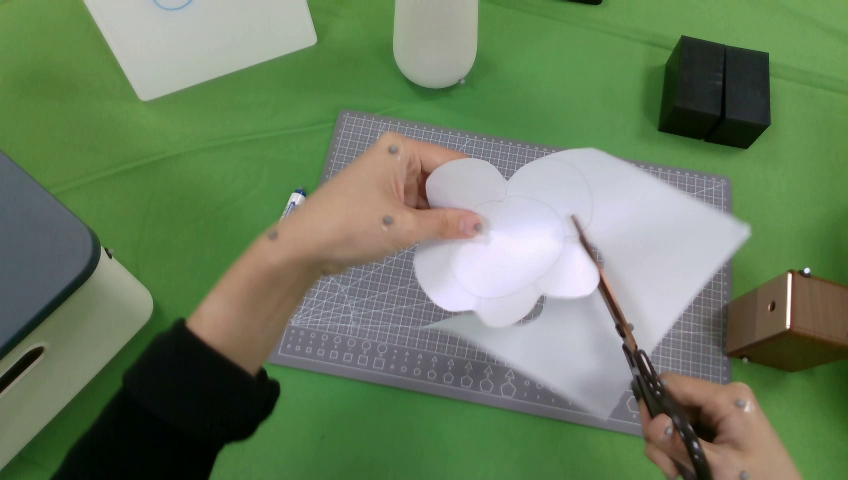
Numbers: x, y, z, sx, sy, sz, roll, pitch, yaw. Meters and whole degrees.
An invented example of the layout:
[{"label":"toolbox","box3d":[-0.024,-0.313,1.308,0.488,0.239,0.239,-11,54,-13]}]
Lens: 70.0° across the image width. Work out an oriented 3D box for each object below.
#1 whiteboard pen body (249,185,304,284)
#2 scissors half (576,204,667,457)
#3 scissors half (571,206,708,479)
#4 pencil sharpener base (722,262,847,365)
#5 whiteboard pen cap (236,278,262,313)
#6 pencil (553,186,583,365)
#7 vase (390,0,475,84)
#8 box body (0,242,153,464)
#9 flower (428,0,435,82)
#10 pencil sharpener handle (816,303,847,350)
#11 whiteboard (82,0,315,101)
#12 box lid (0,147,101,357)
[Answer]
[{"label":"whiteboard pen body","box3d":[-0.156,0.003,0.627,0.017,0.017,0.140,17,67,5]},{"label":"scissors half","box3d":[0.121,0.057,0.367,0.013,0.040,0.176,-23,108,4]},{"label":"scissors half","box3d":[0.121,0.060,0.346,0.013,0.040,0.174,-23,85,-1]},{"label":"pencil sharpener base","box3d":[0.343,0.073,0.568,0.077,0.107,0.061,15,68,1]},{"label":"whiteboard pen cap","box3d":[-0.173,0.055,0.604,0.018,0.018,0.033,16,64,5]},{"label":"pencil","box3d":[0.150,0.033,0.629,0.012,0.012,0.192,-3,70,-3]},{"label":"vase","box3d":[0.010,-0.258,0.640,0.098,0.201,0.097,0,67,0]},{"label":"box body","box3d":[-0.464,0.020,0.533,0.362,0.161,0.253,36,72,12]},{"label":"flower","box3d":[0.007,-0.303,0.568,0.044,0.365,0.038,4,50,3]},{"label":"pencil sharpener handle","box3d":[0.393,0.083,0.555,0.030,0.068,0.035,15,62,1]},{"label":"whiteboard","box3d":[-0.273,-0.344,0.640,0.217,0.308,0.142,-22,51,-10]},{"label":"box lid","box3d":[-0.463,-0.009,0.464,0.370,0.015,0.262,36,71,12]}]
